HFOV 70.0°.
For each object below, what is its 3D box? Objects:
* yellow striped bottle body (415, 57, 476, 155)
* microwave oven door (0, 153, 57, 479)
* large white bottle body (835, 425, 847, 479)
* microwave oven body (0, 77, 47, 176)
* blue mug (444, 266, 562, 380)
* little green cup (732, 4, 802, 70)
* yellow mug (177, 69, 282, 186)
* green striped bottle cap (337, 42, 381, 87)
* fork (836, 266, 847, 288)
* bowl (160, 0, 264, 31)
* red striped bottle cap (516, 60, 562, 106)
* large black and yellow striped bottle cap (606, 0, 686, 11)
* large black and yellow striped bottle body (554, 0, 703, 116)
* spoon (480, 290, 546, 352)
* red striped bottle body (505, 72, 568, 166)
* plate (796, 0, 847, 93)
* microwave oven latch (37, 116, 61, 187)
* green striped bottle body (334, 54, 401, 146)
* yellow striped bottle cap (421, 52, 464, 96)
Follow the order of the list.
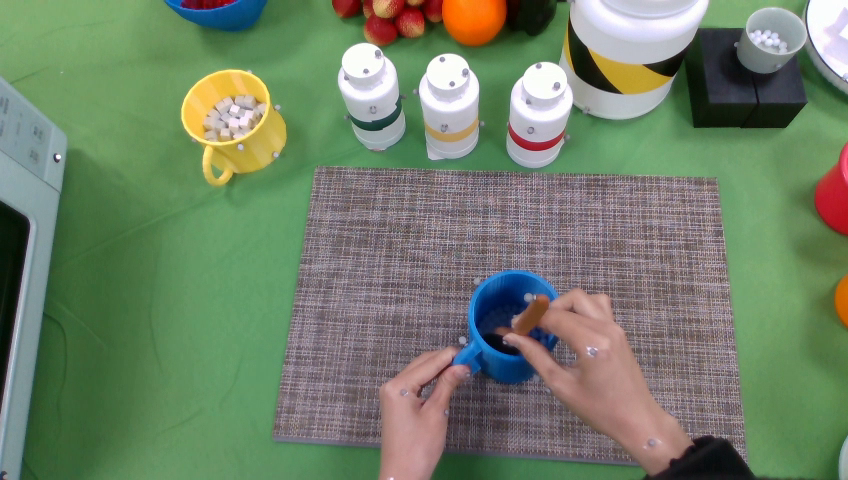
[{"bbox_3d":[0.024,-0.148,0.654,0.063,0.121,0.062,-2,68,5],"label":"yellow striped bottle body"},{"bbox_3d":[-0.425,0.065,0.518,0.039,0.245,0.353,-7,68,2],"label":"microwave oven door"},{"bbox_3d":[0.429,0.181,0.462,0.130,0.186,0.129,-1,68,4],"label":"large white bottle body"},{"bbox_3d":[-0.574,0.045,0.542,0.326,0.262,0.438,-7,69,1],"label":"microwave oven body"},{"bbox_3d":[0.067,0.089,0.563,0.116,0.106,0.081,-35,69,-9],"label":"blue mug"},{"bbox_3d":[0.363,-0.214,0.646,0.061,0.039,0.061,0,66,1],"label":"little green cup"},{"bbox_3d":[-0.225,-0.122,0.691,0.100,0.064,0.130,11,70,8],"label":"yellow mug"},{"bbox_3d":[-0.066,-0.179,0.618,0.044,0.020,0.044,-1,67,4],"label":"green striped bottle cap"},{"bbox_3d":[0.462,0.066,0.524,0.028,0.019,0.205,-35,26,-9],"label":"fork"},{"bbox_3d":[-0.257,-0.321,0.765,0.151,0.077,0.150,-1,69,3],"label":"bowl"},{"bbox_3d":[0.113,-0.155,0.594,0.044,0.018,0.044,0,67,0],"label":"red striped bottle cap"},{"bbox_3d":[0.205,-0.263,0.562,0.115,0.019,0.114,-2,67,4],"label":"large black and yellow striped bottle cap"},{"bbox_3d":[0.213,-0.233,0.640,0.131,0.185,0.130,-1,68,4],"label":"large black and yellow striped bottle body"},{"bbox_3d":[0.076,0.071,0.500,0.041,0.194,0.021,19,74,4],"label":"spoon"},{"bbox_3d":[0.118,-0.134,0.643,0.063,0.120,0.062,-2,67,6],"label":"red striped bottle body"},{"bbox_3d":[0.534,-0.238,0.698,0.209,0.038,0.207,-1,69,4],"label":"plate"},{"bbox_3d":[-0.437,-0.100,0.692,0.030,0.030,0.078,-5,69,2],"label":"microwave oven latch"},{"bbox_3d":[-0.061,-0.160,0.666,0.063,0.120,0.062,-1,68,3],"label":"green striped bottle body"},{"bbox_3d":[0.019,-0.166,0.606,0.044,0.019,0.044,1,65,-1],"label":"yellow striped bottle cap"}]
